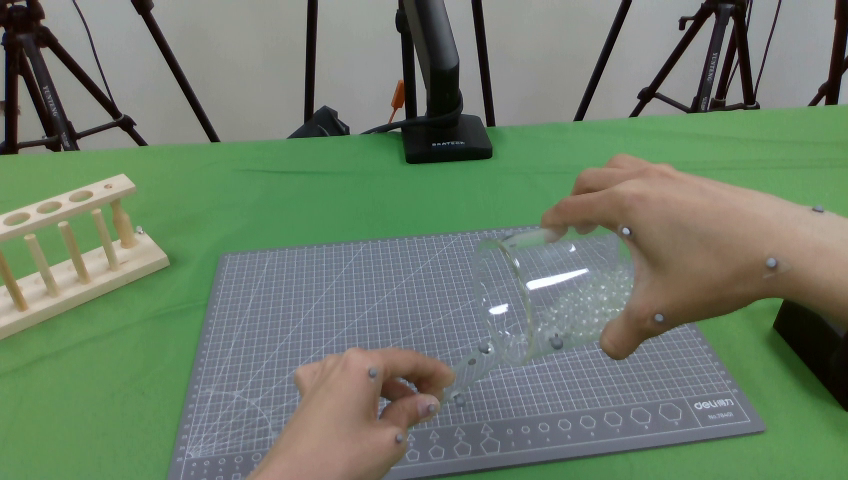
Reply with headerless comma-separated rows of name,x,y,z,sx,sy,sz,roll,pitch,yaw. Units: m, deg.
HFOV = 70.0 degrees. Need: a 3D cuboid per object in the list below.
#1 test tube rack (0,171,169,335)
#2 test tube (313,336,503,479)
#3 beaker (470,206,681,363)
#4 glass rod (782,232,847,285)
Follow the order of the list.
test tube rack,-0.382,0.024,0.572,0.242,0.086,0.066,-28,45,-32
test tube,-0.013,0.108,0.379,0.150,0.017,0.017,-39,36,13
beaker,0.087,0.024,0.351,0.100,0.085,0.073,-13,43,-14
glass rod,0.374,0.048,0.505,0.008,0.008,0.197,-11,37,-13
